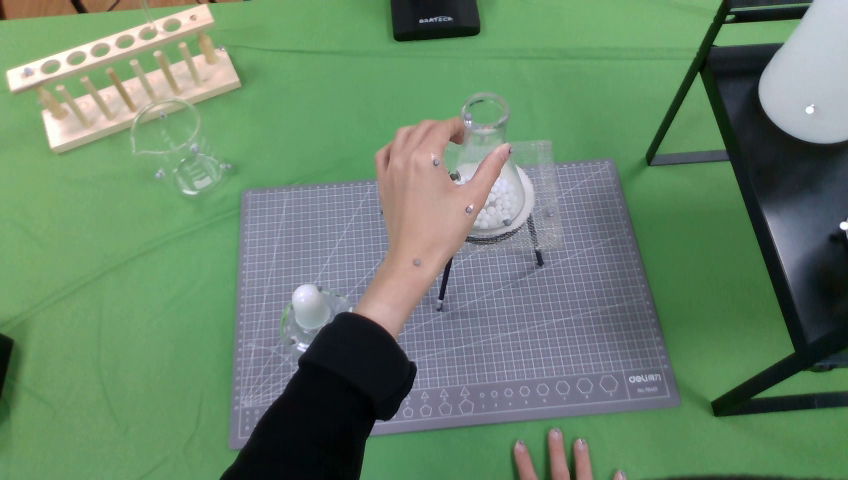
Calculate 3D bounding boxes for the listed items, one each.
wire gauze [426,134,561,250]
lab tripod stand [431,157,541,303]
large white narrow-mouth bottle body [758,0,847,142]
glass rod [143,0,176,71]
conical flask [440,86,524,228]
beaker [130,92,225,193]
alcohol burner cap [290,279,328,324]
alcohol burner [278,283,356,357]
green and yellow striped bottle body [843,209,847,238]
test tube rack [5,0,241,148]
[{"bbox_3d":[0.063,-0.048,0.564,0.121,0.011,0.124,1,64,-1],"label":"wire gauze"},{"bbox_3d":[0.057,-0.014,0.622,0.148,0.132,0.147,0,62,0],"label":"lab tripod stand"},{"bbox_3d":[0.348,-0.169,0.464,0.102,0.196,0.101,0,62,1],"label":"large white narrow-mouth bottle body"},{"bbox_3d":[-0.320,-0.270,0.707,0.008,0.201,0.008,2,62,-3],"label":"glass rod"},{"bbox_3d":[0.048,-0.070,0.501,0.075,0.123,0.074,-2,58,4],"label":"conical flask"},{"bbox_3d":[-0.278,-0.105,0.693,0.073,0.101,0.084,39,71,19],"label":"beaker"},{"bbox_3d":[-0.109,0.054,0.562,0.034,0.048,0.033,1,57,-1],"label":"alcohol burner cap"},{"bbox_3d":[-0.107,0.072,0.594,0.078,0.120,0.077,1,62,-1],"label":"alcohol burner"},{"bbox_3d":[0.369,-0.032,0.437,0.063,0.120,0.062,0,64,1],"label":"green and yellow striped bottle body"},{"bbox_3d":[-0.364,-0.205,0.750,0.242,0.086,0.066,-23,66,-10],"label":"test tube rack"}]
